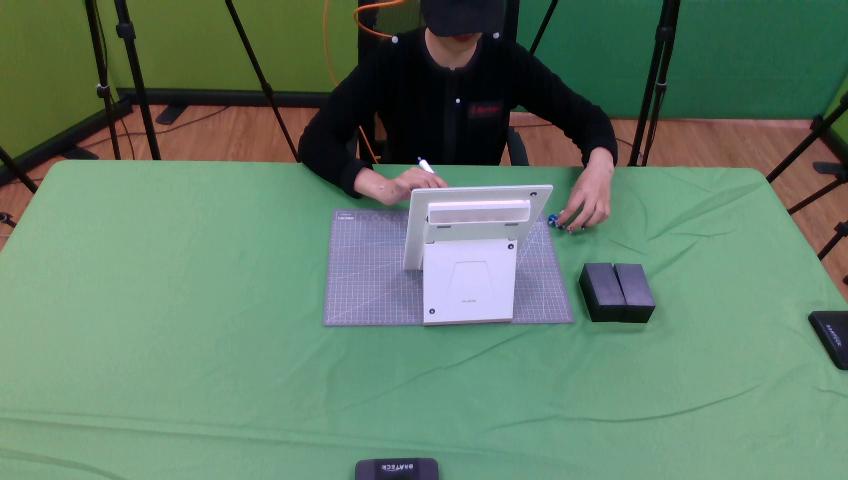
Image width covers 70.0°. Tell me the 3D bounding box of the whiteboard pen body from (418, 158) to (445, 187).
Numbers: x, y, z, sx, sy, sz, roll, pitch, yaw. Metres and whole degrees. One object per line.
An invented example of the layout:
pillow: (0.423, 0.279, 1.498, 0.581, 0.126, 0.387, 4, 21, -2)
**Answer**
whiteboard pen body: (0.025, -0.115, 1.203, 0.017, 0.017, 0.140, -19, 54, -20)

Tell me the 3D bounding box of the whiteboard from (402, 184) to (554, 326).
whiteboard: (0.081, 0.044, 1.005, 0.217, 0.306, 0.143, -1, 65, -6)

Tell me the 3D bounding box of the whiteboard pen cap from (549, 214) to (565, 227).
whiteboard pen cap: (0.277, -0.041, 1.263, 0.018, 0.018, 0.033, -30, 53, -28)
